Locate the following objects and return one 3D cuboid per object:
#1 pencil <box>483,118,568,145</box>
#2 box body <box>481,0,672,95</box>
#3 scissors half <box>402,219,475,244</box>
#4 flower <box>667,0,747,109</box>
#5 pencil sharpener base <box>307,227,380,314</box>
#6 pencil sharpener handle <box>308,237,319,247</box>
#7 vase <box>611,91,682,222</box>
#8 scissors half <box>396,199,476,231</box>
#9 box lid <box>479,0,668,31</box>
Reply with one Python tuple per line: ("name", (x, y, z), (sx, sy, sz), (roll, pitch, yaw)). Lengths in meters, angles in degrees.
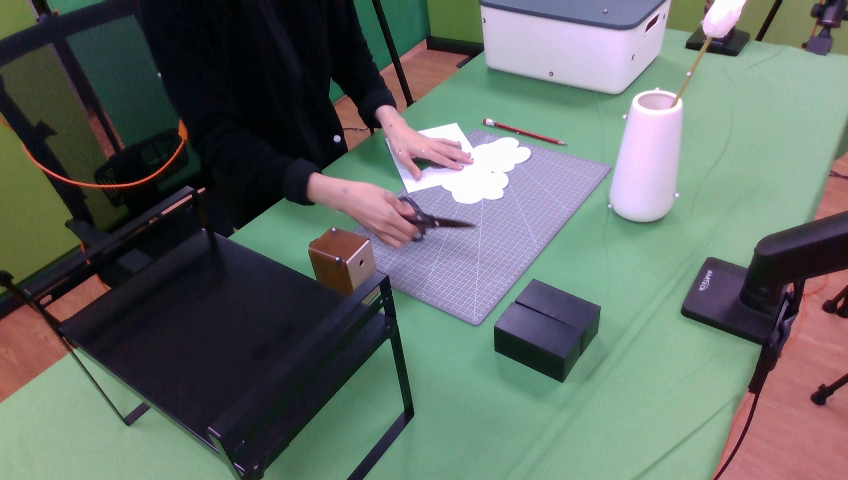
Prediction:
("pencil", (0.201, -0.217, 1.212), (0.192, 0.012, 0.012), (24, 49, 29))
("box body", (0.341, -0.480, 1.381), (0.361, 0.161, 0.255), (22, 48, 30))
("scissors half", (0.020, -0.014, 0.879), (0.013, 0.040, 0.174), (-28, 14, -31))
("flower", (0.354, -0.187, 0.879), (0.038, 0.362, 0.044), (30, 48, 14))
("pencil sharpener base", (-0.116, 0.043, 0.875), (0.076, 0.107, 0.061), (18, 47, 28))
("pencil sharpener handle", (-0.158, 0.017, 0.892), (0.030, 0.068, 0.036), (18, 61, 28))
("vase", (0.348, -0.125, 0.935), (0.098, 0.201, 0.097), (-3, 40, 3))
("scissors half", (0.013, -0.032, 0.872), (0.013, 0.040, 0.173), (-34, 32, -29))
("box lid", (0.335, -0.536, 1.331), (0.368, 0.015, 0.264), (23, 49, 30))
